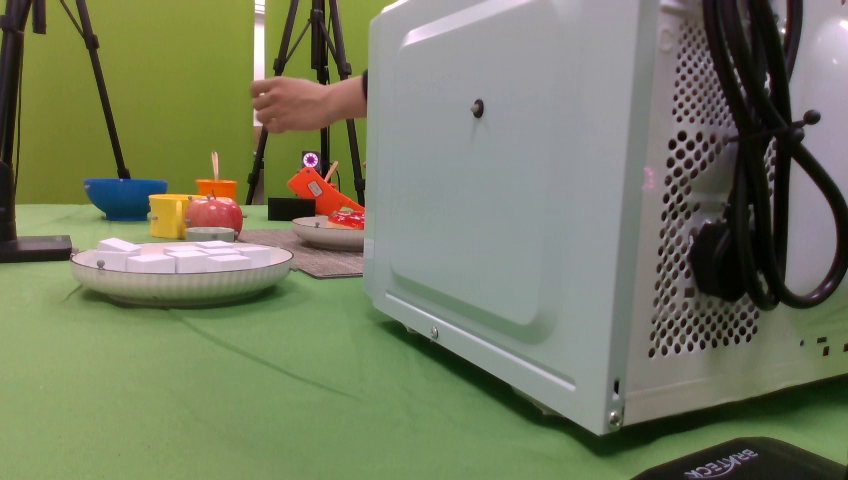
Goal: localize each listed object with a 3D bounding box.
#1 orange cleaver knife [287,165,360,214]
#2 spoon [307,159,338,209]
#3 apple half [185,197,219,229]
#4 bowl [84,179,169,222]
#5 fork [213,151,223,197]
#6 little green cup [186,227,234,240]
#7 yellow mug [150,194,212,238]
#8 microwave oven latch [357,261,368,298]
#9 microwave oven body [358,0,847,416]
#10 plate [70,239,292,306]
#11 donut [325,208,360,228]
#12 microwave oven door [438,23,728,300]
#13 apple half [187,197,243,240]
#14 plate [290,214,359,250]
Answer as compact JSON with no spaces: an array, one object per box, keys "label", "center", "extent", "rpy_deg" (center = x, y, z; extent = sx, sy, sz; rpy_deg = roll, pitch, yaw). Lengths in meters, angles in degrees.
[{"label":"orange cleaver knife","center":[-0.211,-0.093,1.382],"extent":[0.212,0.077,0.012],"rpy_deg":[33,1,-15]},{"label":"spoon","center":[-0.257,-0.147,1.567],"extent":[0.041,0.022,0.193],"rpy_deg":[1,51,20]},{"label":"apple half","center":[-0.338,-0.031,0.927],"extent":[0.032,0.081,0.081],"rpy_deg":[12,12,31]},{"label":"bowl","center":[-0.584,-0.078,1.194],"extent":[0.151,0.077,0.151],"rpy_deg":[3,8,0]},{"label":"fork","center":[-0.494,-0.143,1.442],"extent":[0.028,0.018,0.206],"rpy_deg":[-2,52,-20]},{"label":"little green cup","center":[-0.284,0.005,0.805],"extent":[0.061,0.038,0.061],"rpy_deg":[2,8,0]},{"label":"yellow mug","center":[-0.401,-0.040,1.003],"extent":[0.100,0.064,0.130],"rpy_deg":[0,9,-20]},{"label":"microwave oven latch","center":[-0.019,0.033,0.530],"extent":[0.079,0.029,0.030],"rpy_deg":[-1,7,-26]},{"label":"microwave oven body","center":[0.211,-0.047,0.474],"extent":[0.444,0.260,0.324],"rpy_deg":[-1,7,-28]},{"label":"plate","center":[-0.242,0.031,0.618],"extent":[0.208,0.039,0.207],"rpy_deg":[3,8,0]},{"label":"donut","center":[-0.111,-0.025,0.974],"extent":[0.099,0.048,0.099],"rpy_deg":[4,8,0]},{"label":"microwave oven door","center":[0.181,-0.072,0.621],"extent":[0.358,0.243,0.039],"rpy_deg":[-2,8,-29]},{"label":"apple half","center":[-0.305,-0.026,0.907],"extent":[0.053,0.074,0.081],"rpy_deg":[12,8,31]},{"label":"plate","center":[-0.110,-0.014,0.974],"extent":[0.209,0.038,0.209],"rpy_deg":[3,8,0]}]
